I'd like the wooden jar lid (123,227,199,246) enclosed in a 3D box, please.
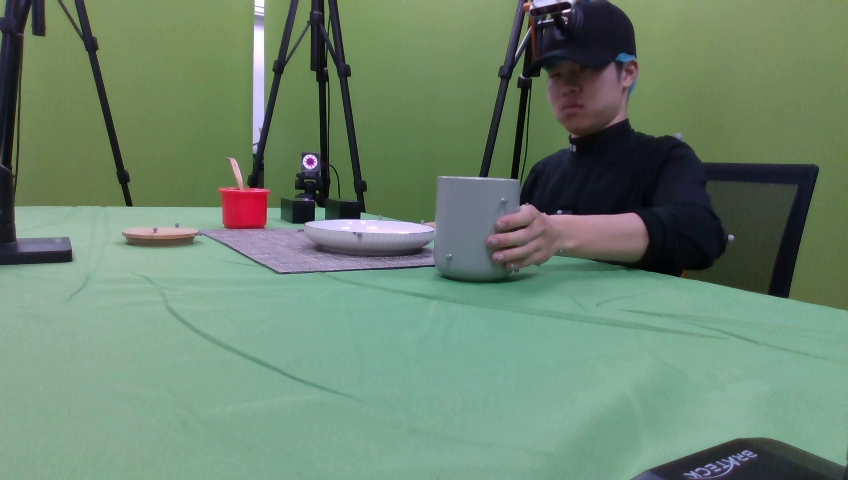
[{"bbox_3d":[-0.408,-0.006,0.942,0.108,0.020,0.108,3,6,0],"label":"wooden jar lid"}]

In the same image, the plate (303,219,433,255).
[{"bbox_3d":[-0.085,-0.005,0.952,0.208,0.039,0.207,3,7,0],"label":"plate"}]

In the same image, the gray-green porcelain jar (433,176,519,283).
[{"bbox_3d":[0.064,-0.015,0.759,0.106,0.126,0.106,2,7,0],"label":"gray-green porcelain jar"}]

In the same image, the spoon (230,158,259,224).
[{"bbox_3d":[-0.366,-0.101,1.215,0.042,0.021,0.193,-1,52,-30],"label":"spoon"}]
